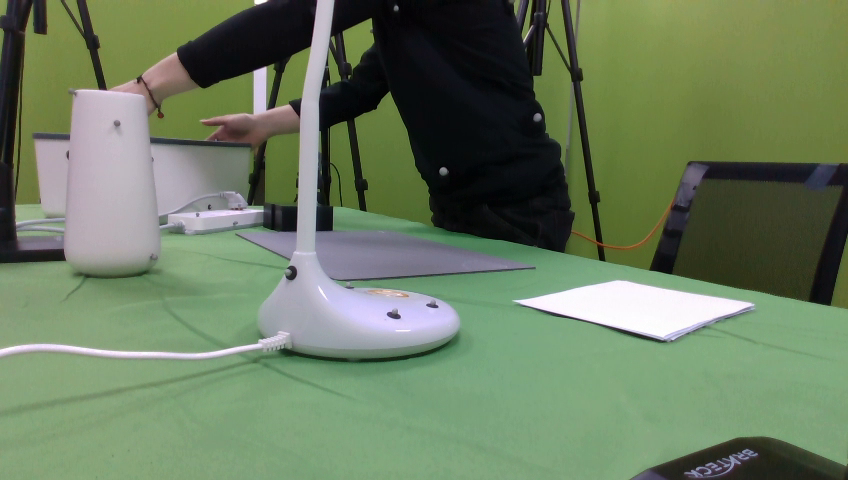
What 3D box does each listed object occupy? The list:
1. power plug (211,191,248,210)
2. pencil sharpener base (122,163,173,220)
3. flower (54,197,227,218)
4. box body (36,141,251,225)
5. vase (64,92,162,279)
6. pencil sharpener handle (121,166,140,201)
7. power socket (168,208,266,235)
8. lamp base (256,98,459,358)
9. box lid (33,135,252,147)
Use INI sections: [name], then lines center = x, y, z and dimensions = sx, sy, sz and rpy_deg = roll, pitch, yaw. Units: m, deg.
[power plug]
center = -0.384, -0.071, 1.206
dimensions = 0.072, 0.052, 0.035
rpy_deg = 2, 10, 29
[pencil sharpener base]
center = -0.539, -0.095, 1.175
dimensions = 0.076, 0.107, 0.061
rpy_deg = 5, 8, 21
[flower]
center = -0.573, -0.058, 1.266
dimensions = 0.044, 0.038, 0.364
rpy_deg = 36, 21, 33
[box body]
center = -0.559, -0.127, 1.257
dimensions = 0.253, 0.160, 0.365
rpy_deg = 4, 8, 15
[vase]
center = -0.348, -0.060, 0.673
dimensions = 0.098, 0.200, 0.098
rpy_deg = 1, 7, 0
[pencil sharpener handle]
center = -0.586, -0.111, 1.193
dimensions = 0.030, 0.067, 0.036
rpy_deg = 5, 13, 21
[power socket]
center = -0.379, -0.038, 1.129
dimensions = 0.072, 0.032, 0.227
rpy_deg = 4, 8, 18
[lamp base]
center = -0.055, -0.013, 0.463
dimensions = 0.160, 0.180, 0.180
rpy_deg = 6, 11, 27
[box lid]
center = -0.556, -0.201, 1.249
dimensions = 0.263, 0.015, 0.372
rpy_deg = 4, 8, 15
